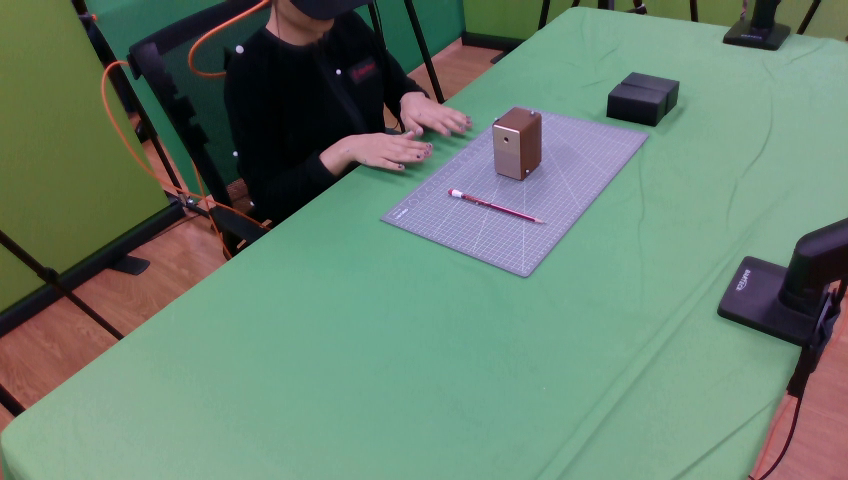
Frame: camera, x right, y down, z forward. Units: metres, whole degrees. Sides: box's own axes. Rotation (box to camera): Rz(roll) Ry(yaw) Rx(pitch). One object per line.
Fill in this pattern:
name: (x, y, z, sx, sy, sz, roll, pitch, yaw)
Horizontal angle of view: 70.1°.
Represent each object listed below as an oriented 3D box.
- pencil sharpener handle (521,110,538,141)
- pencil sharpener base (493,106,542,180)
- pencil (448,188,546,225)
pencil sharpener handle: (0.198, -0.214, 1.106, 0.036, 0.068, 0.031, 30, 53, 25)
pencil sharpener base: (0.170, -0.175, 1.085, 0.061, 0.107, 0.077, 23, 49, 33)
pencil: (0.122, -0.057, 1.033, 0.192, 0.012, 0.012, 22, 50, 30)
